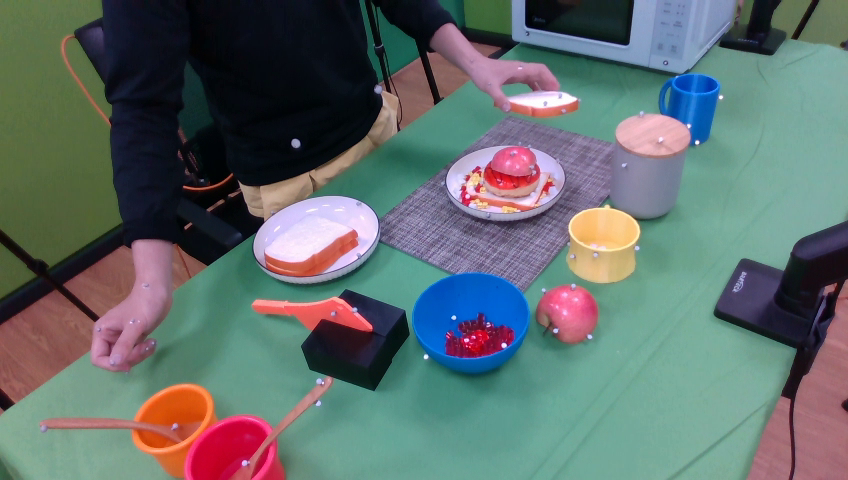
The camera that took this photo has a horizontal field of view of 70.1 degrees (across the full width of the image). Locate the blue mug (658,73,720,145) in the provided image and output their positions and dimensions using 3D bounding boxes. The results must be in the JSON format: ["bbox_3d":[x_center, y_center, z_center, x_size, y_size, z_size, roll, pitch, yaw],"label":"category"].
[{"bbox_3d":[0.483,-0.250,1.127,0.082,0.106,0.115,-26,44,-19],"label":"blue mug"}]

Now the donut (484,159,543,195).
[{"bbox_3d":[0.150,-0.112,1.018,0.099,0.048,0.098,-4,40,3],"label":"donut"}]

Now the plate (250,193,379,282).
[{"bbox_3d":[-0.174,-0.001,0.984,0.209,0.038,0.208,-4,40,4],"label":"plate"}]

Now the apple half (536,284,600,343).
[{"bbox_3d":[0.196,0.091,0.815,0.075,0.053,0.080,-22,42,-20],"label":"apple half"}]

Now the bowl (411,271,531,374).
[{"bbox_3d":[0.062,0.119,0.780,0.151,0.077,0.150,-4,40,4],"label":"bowl"}]

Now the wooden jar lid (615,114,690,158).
[{"bbox_3d":[0.347,-0.155,0.923,0.108,0.021,0.108,-3,44,4],"label":"wooden jar lid"}]

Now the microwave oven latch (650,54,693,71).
[{"bbox_3d":[0.531,-0.386,1.301,0.078,0.029,0.030,26,51,33],"label":"microwave oven latch"}]

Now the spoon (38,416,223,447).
[{"bbox_3d":[-0.320,0.209,0.677,0.021,0.195,0.041,-53,41,16],"label":"spoon"}]

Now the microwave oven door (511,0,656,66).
[{"bbox_3d":[0.350,-0.539,1.348,0.353,0.245,0.039,24,50,31],"label":"microwave oven door"}]

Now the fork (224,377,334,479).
[{"bbox_3d":[-0.163,0.216,0.646,0.207,0.019,0.028,-49,43,16],"label":"fork"}]

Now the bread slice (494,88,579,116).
[{"bbox_3d":[0.200,-0.237,1.036,0.105,0.019,0.130,-19,29,-25],"label":"bread slice"}]

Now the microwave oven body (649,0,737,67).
[{"bbox_3d":[0.475,-0.602,1.411,0.438,0.261,0.327,23,50,32],"label":"microwave oven body"}]

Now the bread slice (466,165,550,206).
[{"bbox_3d":[0.140,-0.096,1.039,0.133,0.018,0.107,4,39,22],"label":"bread slice"}]

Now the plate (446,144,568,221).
[{"bbox_3d":[0.143,-0.097,1.045,0.207,0.039,0.206,-4,40,4],"label":"plate"}]

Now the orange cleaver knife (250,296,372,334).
[{"bbox_3d":[-0.158,0.103,0.828,0.210,0.078,0.012,-4,43,39],"label":"orange cleaver knife"}]

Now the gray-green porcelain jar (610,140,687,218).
[{"bbox_3d":[0.354,-0.106,0.964,0.106,0.127,0.105,-4,41,4],"label":"gray-green porcelain jar"}]

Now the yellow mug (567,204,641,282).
[{"bbox_3d":[0.268,-0.005,0.905,0.099,0.064,0.130,6,41,16],"label":"yellow mug"}]

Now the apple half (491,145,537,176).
[{"bbox_3d":[0.149,-0.139,0.995,0.081,0.033,0.081,1,38,0],"label":"apple half"}]
